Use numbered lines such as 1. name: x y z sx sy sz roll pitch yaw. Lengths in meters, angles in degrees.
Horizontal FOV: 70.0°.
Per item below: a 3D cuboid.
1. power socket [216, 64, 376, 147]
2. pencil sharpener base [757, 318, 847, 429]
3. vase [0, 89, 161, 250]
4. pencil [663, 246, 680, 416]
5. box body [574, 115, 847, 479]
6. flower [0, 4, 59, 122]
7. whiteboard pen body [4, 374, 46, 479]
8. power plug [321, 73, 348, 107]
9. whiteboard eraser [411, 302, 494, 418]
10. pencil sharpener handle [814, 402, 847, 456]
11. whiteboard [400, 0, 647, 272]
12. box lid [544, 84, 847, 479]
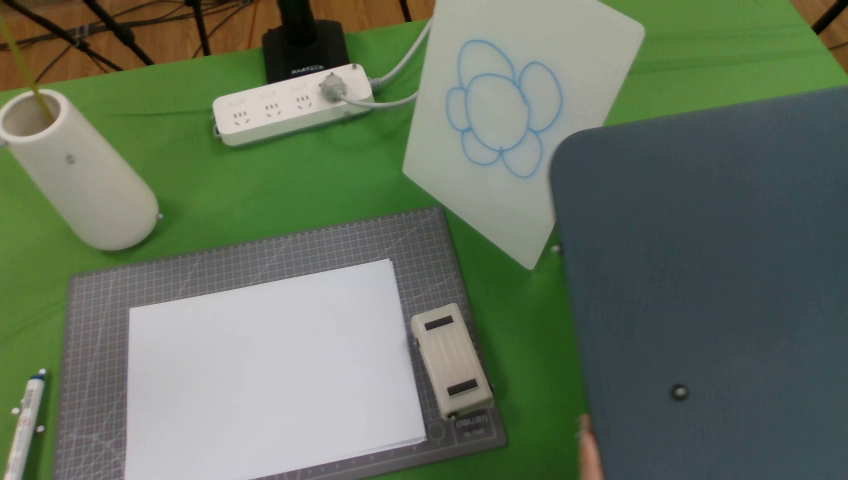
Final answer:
1. power socket: -0.174 -0.184 0.825 0.227 0.033 0.071 -16 61 -8
2. pencil sharpener base: 0.370 0.131 0.573 0.061 0.108 0.076 8 60 6
3. vase: -0.373 -0.071 0.669 0.098 0.202 0.097 -2 59 3
4. pencil: 0.268 0.094 0.655 0.012 0.012 0.192 6 62 6
5. box body: 0.319 0.083 0.577 0.254 0.162 0.360 -12 60 -5
6. flower: -0.373 -0.129 0.608 0.038 0.365 0.043 -22 43 -18
7. whiteboard pen body: -0.404 0.202 0.611 0.017 0.017 0.139 -8 56 -2
8. power plug: -0.117 -0.187 0.798 0.035 0.053 0.072 -8 61 -2
9. whiteboard eraser: 0.028 0.124 0.629 0.056 0.042 0.111 -16 60 -9
10. pencil sharpener handle: 0.365 0.169 0.536 0.036 0.068 0.030 1 59 17
11. whiteboard: 0.122 -0.157 0.677 0.215 0.307 0.144 40 49 23
12. box lid: 0.236 0.071 0.397 0.263 0.015 0.369 -9 71 6
